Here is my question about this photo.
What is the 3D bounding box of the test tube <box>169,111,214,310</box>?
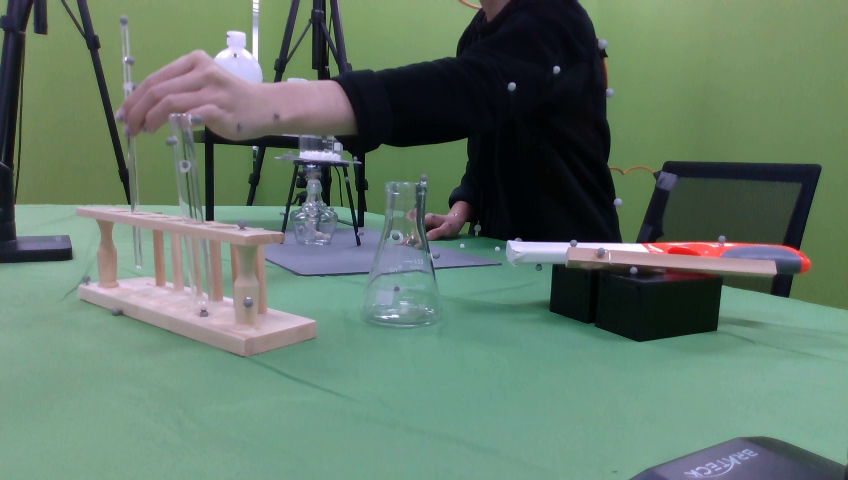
[{"bbox_3d":[-0.175,-0.020,0.455,0.017,0.150,0.017,-3,9,1],"label":"test tube"}]

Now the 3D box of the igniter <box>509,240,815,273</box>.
[{"bbox_3d":[0.220,0.015,0.566,0.277,0.025,0.057,2,16,0],"label":"igniter"}]

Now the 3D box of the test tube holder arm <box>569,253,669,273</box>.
[{"bbox_3d":[0.172,0.019,0.532,0.088,0.015,0.010,3,-24,3],"label":"test tube holder arm"}]

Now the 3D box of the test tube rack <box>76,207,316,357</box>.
[{"bbox_3d":[-0.196,0.023,0.499,0.241,0.085,0.067,8,9,36],"label":"test tube rack"}]

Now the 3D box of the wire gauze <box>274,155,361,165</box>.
[{"bbox_3d":[-0.174,-0.129,0.978,0.125,0.011,0.121,-2,6,-19],"label":"wire gauze"}]

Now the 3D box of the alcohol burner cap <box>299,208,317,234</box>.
[{"bbox_3d":[-0.213,-0.035,1.110,0.034,0.048,0.034,3,6,0],"label":"alcohol burner cap"}]

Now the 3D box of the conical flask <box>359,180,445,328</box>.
[{"bbox_3d":[-0.017,0.010,0.522,0.075,0.122,0.075,2,7,0],"label":"conical flask"}]

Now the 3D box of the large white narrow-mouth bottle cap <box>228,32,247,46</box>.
[{"bbox_3d":[-0.364,-0.390,1.180,0.038,0.024,0.037,3,8,0],"label":"large white narrow-mouth bottle cap"}]

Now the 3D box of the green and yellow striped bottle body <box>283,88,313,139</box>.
[{"bbox_3d":[-0.266,-0.275,1.275,0.063,0.119,0.063,2,7,0],"label":"green and yellow striped bottle body"}]

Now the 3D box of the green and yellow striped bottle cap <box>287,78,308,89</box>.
[{"bbox_3d":[-0.265,-0.326,1.268,0.045,0.020,0.045,4,6,0],"label":"green and yellow striped bottle cap"}]

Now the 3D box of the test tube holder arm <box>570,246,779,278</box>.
[{"bbox_3d":[0.217,0.020,0.525,0.178,0.015,0.013,4,-24,2],"label":"test tube holder arm"}]

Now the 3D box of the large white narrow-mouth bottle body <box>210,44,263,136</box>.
[{"bbox_3d":[-0.369,-0.305,1.194,0.102,0.194,0.102,3,8,0],"label":"large white narrow-mouth bottle body"}]

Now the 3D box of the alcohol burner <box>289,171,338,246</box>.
[{"bbox_3d":[-0.177,-0.051,0.968,0.078,0.119,0.078,1,6,0],"label":"alcohol burner"}]

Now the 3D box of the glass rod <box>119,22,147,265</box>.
[{"bbox_3d":[-0.240,-0.077,0.501,0.008,0.199,0.008,-2,7,1],"label":"glass rod"}]

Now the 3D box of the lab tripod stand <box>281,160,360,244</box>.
[{"bbox_3d":[-0.170,-0.063,0.983,0.148,0.131,0.148,1,6,0],"label":"lab tripod stand"}]

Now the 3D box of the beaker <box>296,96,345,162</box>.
[{"bbox_3d":[-0.163,-0.175,0.966,0.083,0.100,0.074,7,8,34],"label":"beaker"}]
